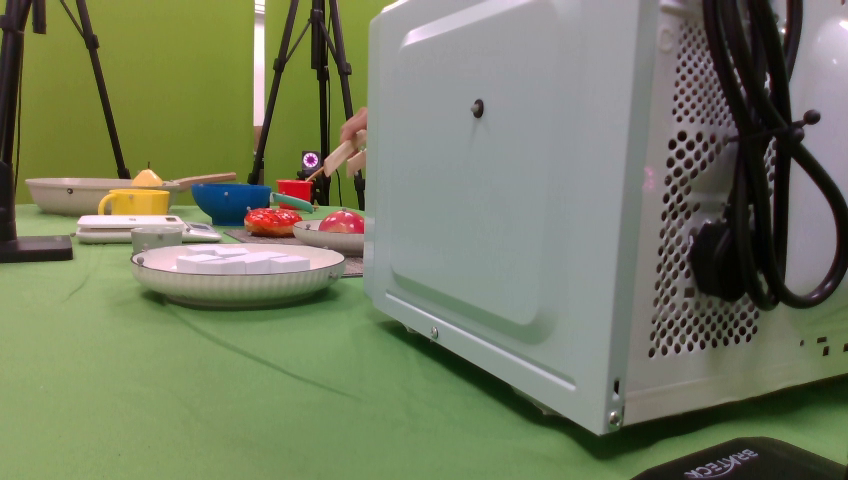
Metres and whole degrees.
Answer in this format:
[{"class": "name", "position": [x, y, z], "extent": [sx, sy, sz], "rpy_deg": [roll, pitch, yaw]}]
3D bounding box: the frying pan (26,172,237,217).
[{"class": "frying pan", "position": [-0.624, -0.118, 1.387], "extent": [0.305, 0.102, 0.490], "rpy_deg": [8, 17, 32]}]

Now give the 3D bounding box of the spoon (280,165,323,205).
[{"class": "spoon", "position": [-0.317, -0.159, 1.640], "extent": [0.194, 0.022, 0.041], "rpy_deg": [-49, 32, -20]}]

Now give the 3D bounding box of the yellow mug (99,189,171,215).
[{"class": "yellow mug", "position": [-0.519, -0.055, 1.080], "extent": [0.099, 0.064, 0.131], "rpy_deg": [7, 9, 26]}]

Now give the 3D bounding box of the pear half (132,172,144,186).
[{"class": "pear half", "position": [-0.638, -0.113, 1.361], "extent": [0.031, 0.088, 0.070], "rpy_deg": [5, 11, 4]}]

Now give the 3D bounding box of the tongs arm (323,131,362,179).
[{"class": "tongs arm", "position": [-0.115, -0.161, 1.039], "extent": [0.028, 0.028, 0.387], "rpy_deg": [-7, 18, 9]}]

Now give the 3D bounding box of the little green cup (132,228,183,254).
[{"class": "little green cup", "position": [-0.342, 0.006, 0.779], "extent": [0.061, 0.038, 0.061], "rpy_deg": [2, 8, 0]}]

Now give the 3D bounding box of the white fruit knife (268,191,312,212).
[{"class": "white fruit knife", "position": [-0.364, -0.105, 1.464], "extent": [0.208, 0.027, 0.016], "rpy_deg": [15, 0, -34]}]

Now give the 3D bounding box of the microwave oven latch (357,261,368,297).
[{"class": "microwave oven latch", "position": [-0.019, 0.033, 0.531], "extent": [0.079, 0.029, 0.030], "rpy_deg": [-1, 7, -27]}]

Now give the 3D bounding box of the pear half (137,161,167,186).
[{"class": "pear half", "position": [-0.602, -0.120, 1.354], "extent": [0.056, 0.110, 0.076], "rpy_deg": [4, 11, 6]}]

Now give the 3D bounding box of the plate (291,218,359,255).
[{"class": "plate", "position": [-0.098, -0.007, 0.928], "extent": [0.209, 0.038, 0.209], "rpy_deg": [2, 7, 0]}]

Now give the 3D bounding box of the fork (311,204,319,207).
[{"class": "fork", "position": [-0.356, -0.105, 1.526], "extent": [0.208, 0.018, 0.028], "rpy_deg": [16, -5, -41]}]

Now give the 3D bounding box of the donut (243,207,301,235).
[{"class": "donut", "position": [-0.261, -0.032, 1.043], "extent": [0.099, 0.048, 0.099], "rpy_deg": [4, 9, 0]}]

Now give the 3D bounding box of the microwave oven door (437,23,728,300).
[{"class": "microwave oven door", "position": [0.180, -0.072, 0.621], "extent": [0.358, 0.243, 0.039], "rpy_deg": [-2, 8, -29]}]

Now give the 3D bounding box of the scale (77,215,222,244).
[{"class": "scale", "position": [-0.434, -0.019, 0.963], "extent": [0.202, 0.031, 0.148], "rpy_deg": [-1, 9, -27]}]

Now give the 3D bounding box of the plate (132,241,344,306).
[{"class": "plate", "position": [-0.187, 0.033, 0.625], "extent": [0.208, 0.039, 0.207], "rpy_deg": [2, 8, 0]}]

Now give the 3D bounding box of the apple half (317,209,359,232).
[{"class": "apple half", "position": [-0.122, -0.020, 0.900], "extent": [0.080, 0.053, 0.075], "rpy_deg": [4, 10, 15]}]

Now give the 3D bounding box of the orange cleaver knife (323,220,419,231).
[{"class": "orange cleaver knife", "position": [-0.096, -0.027, 1.152], "extent": [0.077, 0.012, 0.212], "rpy_deg": [2, 7, 41]}]

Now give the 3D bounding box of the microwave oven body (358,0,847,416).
[{"class": "microwave oven body", "position": [0.211, -0.047, 0.475], "extent": [0.444, 0.260, 0.324], "rpy_deg": [-1, 7, -28]}]

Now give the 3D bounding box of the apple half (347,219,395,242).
[{"class": "apple half", "position": [-0.084, -0.018, 0.966], "extent": [0.081, 0.033, 0.081], "rpy_deg": [6, 9, -1]}]

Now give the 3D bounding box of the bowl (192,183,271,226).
[{"class": "bowl", "position": [-0.382, -0.071, 1.202], "extent": [0.151, 0.077, 0.151], "rpy_deg": [3, 7, 0]}]

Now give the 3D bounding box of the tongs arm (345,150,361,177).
[{"class": "tongs arm", "position": [-0.093, -0.162, 1.036], "extent": [0.050, 0.026, 0.385], "rpy_deg": [-2, 19, 13]}]
